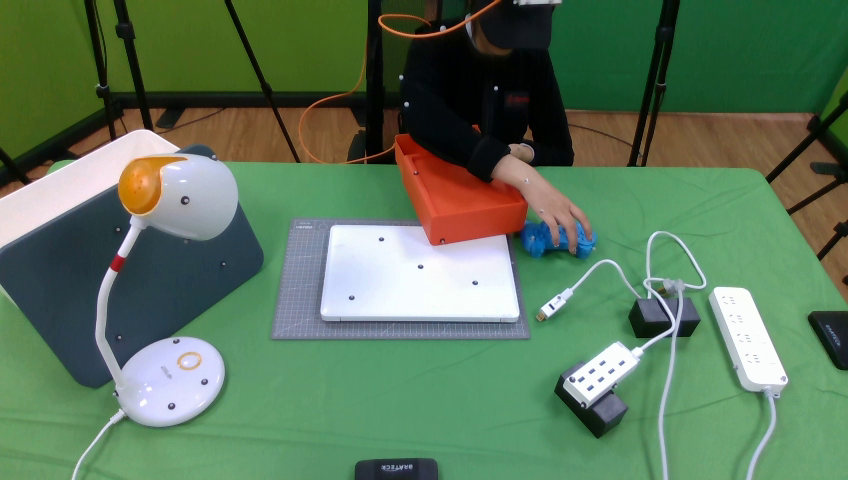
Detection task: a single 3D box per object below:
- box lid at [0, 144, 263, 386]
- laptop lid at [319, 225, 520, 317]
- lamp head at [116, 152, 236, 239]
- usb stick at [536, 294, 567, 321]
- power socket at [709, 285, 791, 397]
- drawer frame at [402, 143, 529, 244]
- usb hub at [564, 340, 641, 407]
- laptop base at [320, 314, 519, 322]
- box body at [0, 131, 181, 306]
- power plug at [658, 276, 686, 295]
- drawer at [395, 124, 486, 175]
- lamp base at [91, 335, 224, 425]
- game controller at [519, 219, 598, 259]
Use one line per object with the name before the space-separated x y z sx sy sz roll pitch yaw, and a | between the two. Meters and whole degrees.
box lid | -0.444 0.032 0.979 0.015 0.264 0.371 13 42 41
laptop lid | -0.008 0.052 1.131 0.357 0.013 0.240 2 44 -2
lamp head | -0.315 -0.057 0.747 0.112 0.112 0.123 26 10 20
usb stick | 0.226 0.123 1.083 0.059 0.027 0.021 -38 76 -8
power socket | 0.567 0.168 1.064 0.072 0.033 0.225 2 46 0
drawer frame | 0.077 -0.100 1.234 0.202 0.083 0.212 -10 44 -14
usb hub | 0.278 0.205 0.944 0.125 0.025 0.049 -27 52 -28
laptop base | -0.008 0.062 1.138 0.354 0.023 0.234 1 43 -3
box body | -0.550 -0.007 1.068 0.253 0.161 0.363 30 51 23
power plug | 0.450 0.087 1.113 0.073 0.052 0.035 -13 71 -55
drawer | 0.055 -0.151 1.295 0.195 0.073 0.210 -10 45 -12
lamp base | -0.401 0.171 0.892 0.160 0.181 0.179 30 53 23
game controller | 0.270 -0.011 1.210 0.155 0.052 0.096 1 49 -3
